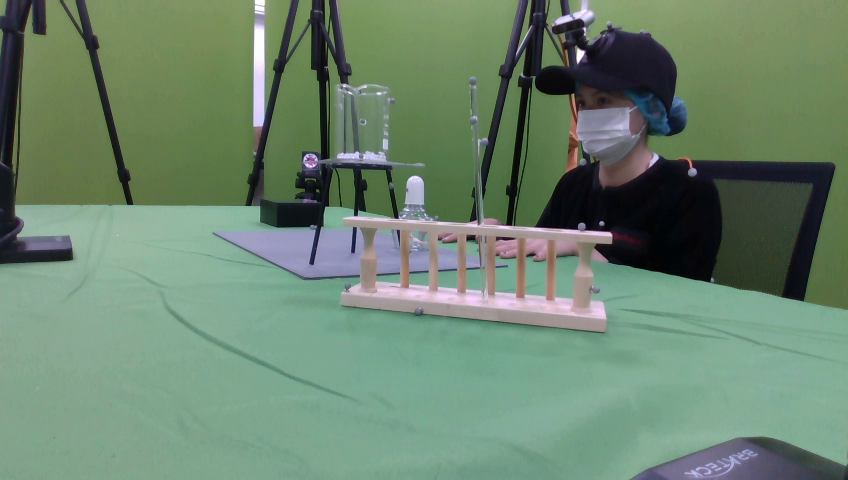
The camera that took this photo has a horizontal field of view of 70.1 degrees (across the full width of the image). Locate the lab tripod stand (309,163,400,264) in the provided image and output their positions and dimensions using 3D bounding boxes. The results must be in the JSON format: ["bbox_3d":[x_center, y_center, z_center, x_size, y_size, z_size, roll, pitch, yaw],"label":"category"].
[{"bbox_3d":[-0.091,-0.037,0.813,0.148,0.131,0.148,1,6,0],"label":"lab tripod stand"}]

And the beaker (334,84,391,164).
[{"bbox_3d":[-0.082,-0.149,0.792,0.074,0.100,0.084,2,5,5],"label":"beaker"}]

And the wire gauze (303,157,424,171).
[{"bbox_3d":[-0.082,-0.101,0.799,0.126,0.011,0.121,1,7,-30],"label":"wire gauze"}]

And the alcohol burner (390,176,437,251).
[{"bbox_3d":[-0.016,-0.042,0.955,0.078,0.119,0.078,4,5,0],"label":"alcohol burner"}]

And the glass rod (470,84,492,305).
[{"bbox_3d":[0.051,-0.036,0.535,0.008,0.199,0.008,-5,10,1],"label":"glass rod"}]

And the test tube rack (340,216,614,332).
[{"bbox_3d":[0.048,0.026,0.568,0.242,0.085,0.067,4,8,13],"label":"test tube rack"}]

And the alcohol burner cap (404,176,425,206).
[{"bbox_3d":[-0.015,-0.077,0.951,0.034,0.048,0.034,2,4,0],"label":"alcohol burner cap"}]
